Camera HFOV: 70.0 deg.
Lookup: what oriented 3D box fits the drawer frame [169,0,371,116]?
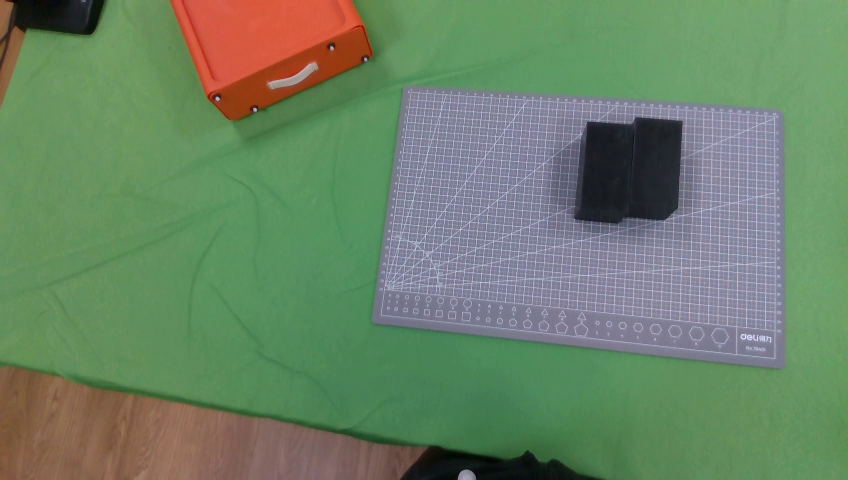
[{"bbox_3d":[-0.201,-0.292,0.751,0.202,0.083,0.212,-26,76,-1],"label":"drawer frame"}]

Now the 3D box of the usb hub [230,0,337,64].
[{"bbox_3d":[-0.175,-0.268,0.756,0.125,0.025,0.049,-20,90,8],"label":"usb hub"}]

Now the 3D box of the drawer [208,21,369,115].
[{"bbox_3d":[-0.200,-0.289,0.754,0.194,0.073,0.210,-26,75,-1],"label":"drawer"}]
